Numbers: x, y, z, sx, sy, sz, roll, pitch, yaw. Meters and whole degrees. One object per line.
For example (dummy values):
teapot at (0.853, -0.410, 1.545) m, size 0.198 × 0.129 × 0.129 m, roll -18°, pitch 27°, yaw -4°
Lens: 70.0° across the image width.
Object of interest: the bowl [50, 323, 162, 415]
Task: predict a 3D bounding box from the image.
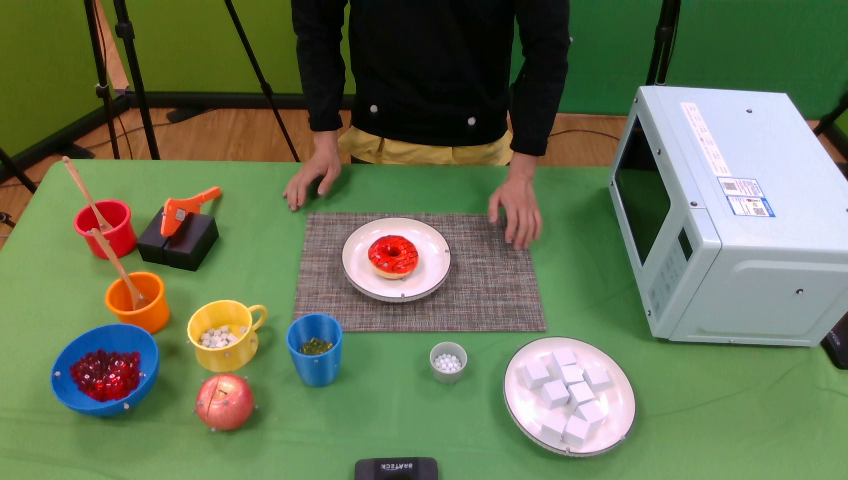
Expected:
bowl at (-0.472, 0.209, 0.924) m, size 0.151 × 0.077 × 0.150 m, roll 3°, pitch 45°, yaw -2°

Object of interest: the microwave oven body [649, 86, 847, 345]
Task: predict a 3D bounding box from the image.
microwave oven body at (0.568, -0.053, 1.118) m, size 0.326 × 0.261 × 0.439 m, roll 2°, pitch 45°, yaw -1°

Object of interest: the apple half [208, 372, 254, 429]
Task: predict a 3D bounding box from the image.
apple half at (-0.283, 0.244, 0.908) m, size 0.053 × 0.075 × 0.080 m, roll 7°, pitch 42°, yaw -1°

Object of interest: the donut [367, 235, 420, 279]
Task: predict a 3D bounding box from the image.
donut at (-0.056, 0.032, 1.131) m, size 0.099 × 0.048 × 0.098 m, roll 3°, pitch 45°, yaw -3°

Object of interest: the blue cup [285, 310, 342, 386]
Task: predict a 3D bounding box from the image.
blue cup at (-0.170, 0.179, 0.958) m, size 0.093 × 0.101 × 0.092 m, roll 2°, pitch 44°, yaw -1°

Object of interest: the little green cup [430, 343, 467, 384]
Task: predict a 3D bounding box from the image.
little green cup at (0.039, 0.203, 0.994) m, size 0.061 × 0.039 × 0.061 m, roll 2°, pitch 46°, yaw -2°

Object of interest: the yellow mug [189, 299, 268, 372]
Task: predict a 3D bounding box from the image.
yellow mug at (-0.316, 0.148, 1.002) m, size 0.131 × 0.064 × 0.099 m, roll -32°, pitch 56°, yaw -31°

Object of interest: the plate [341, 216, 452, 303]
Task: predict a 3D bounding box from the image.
plate at (-0.052, 0.039, 1.140) m, size 0.209 × 0.038 × 0.208 m, roll 2°, pitch 46°, yaw -2°

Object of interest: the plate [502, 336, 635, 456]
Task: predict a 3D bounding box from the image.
plate at (0.225, 0.248, 0.963) m, size 0.208 × 0.039 × 0.206 m, roll 2°, pitch 46°, yaw -2°

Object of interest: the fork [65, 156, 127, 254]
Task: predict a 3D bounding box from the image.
fork at (-0.614, -0.064, 1.130) m, size 0.028 × 0.018 × 0.207 m, roll -29°, pitch 97°, yaw -16°

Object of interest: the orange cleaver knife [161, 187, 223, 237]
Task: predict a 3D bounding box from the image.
orange cleaver knife at (-0.448, -0.058, 1.180) m, size 0.012 × 0.077 × 0.211 m, roll 13°, pitch 17°, yaw 6°

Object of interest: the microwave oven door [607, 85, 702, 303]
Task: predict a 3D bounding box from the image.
microwave oven door at (0.423, -0.094, 1.141) m, size 0.039 × 0.245 × 0.353 m, roll 2°, pitch 46°, yaw -1°

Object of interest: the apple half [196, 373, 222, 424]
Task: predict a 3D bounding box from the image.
apple half at (-0.322, 0.239, 0.906) m, size 0.033 × 0.081 × 0.081 m, roll 7°, pitch 46°, yaw 0°

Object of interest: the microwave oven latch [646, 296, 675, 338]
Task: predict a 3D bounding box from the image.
microwave oven latch at (0.412, 0.134, 1.061) m, size 0.030 × 0.029 × 0.078 m, roll 4°, pitch 45°, yaw 1°

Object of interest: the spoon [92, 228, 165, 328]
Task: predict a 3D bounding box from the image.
spoon at (-0.496, 0.063, 1.014) m, size 0.041 × 0.194 × 0.021 m, roll -33°, pitch 12°, yaw -30°
